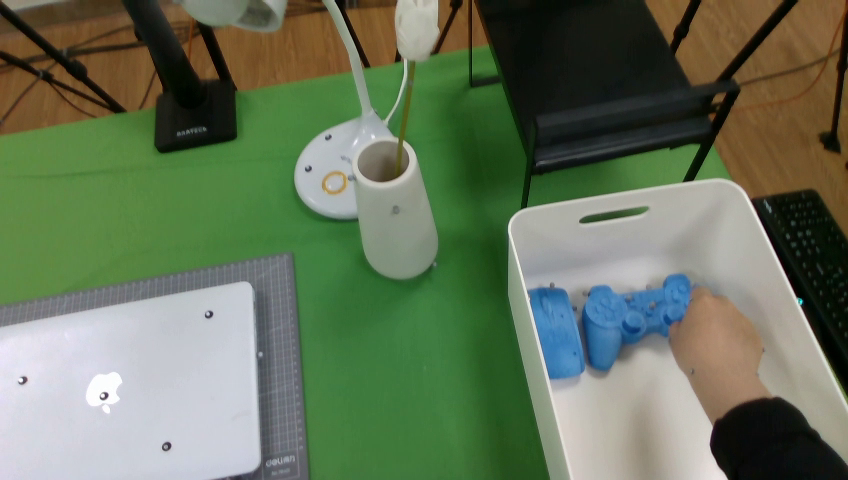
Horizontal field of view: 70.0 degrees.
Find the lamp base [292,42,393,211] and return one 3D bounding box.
[{"bbox_3d":[-0.108,-0.158,0.799,0.160,0.182,0.178,19,61,14],"label":"lamp base"}]

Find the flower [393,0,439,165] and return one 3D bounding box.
[{"bbox_3d":[-0.029,-0.094,0.652,0.038,0.364,0.043,-14,50,-24],"label":"flower"}]

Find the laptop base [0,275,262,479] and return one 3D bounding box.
[{"bbox_3d":[-0.372,0.177,0.721,0.354,0.023,0.233,-11,64,-3],"label":"laptop base"}]

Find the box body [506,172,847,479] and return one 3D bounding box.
[{"bbox_3d":[0.239,0.134,0.623,0.254,0.162,0.360,-9,61,-1],"label":"box body"}]

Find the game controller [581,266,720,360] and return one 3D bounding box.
[{"bbox_3d":[0.261,0.080,0.709,0.155,0.052,0.096,-7,52,-3],"label":"game controller"}]

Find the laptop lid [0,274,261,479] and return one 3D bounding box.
[{"bbox_3d":[-0.372,0.174,0.709,0.357,0.013,0.239,-9,63,-2],"label":"laptop lid"}]

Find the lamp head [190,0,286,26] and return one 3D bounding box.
[{"bbox_3d":[-0.157,-0.260,0.515,0.112,0.113,0.122,16,81,13],"label":"lamp head"}]

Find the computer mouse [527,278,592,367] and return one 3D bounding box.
[{"bbox_3d":[0.152,0.093,0.714,0.063,0.041,0.116,-12,52,-1],"label":"computer mouse"}]

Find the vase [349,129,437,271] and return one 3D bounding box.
[{"bbox_3d":[-0.038,-0.043,0.719,0.098,0.202,0.097,-2,60,5],"label":"vase"}]
